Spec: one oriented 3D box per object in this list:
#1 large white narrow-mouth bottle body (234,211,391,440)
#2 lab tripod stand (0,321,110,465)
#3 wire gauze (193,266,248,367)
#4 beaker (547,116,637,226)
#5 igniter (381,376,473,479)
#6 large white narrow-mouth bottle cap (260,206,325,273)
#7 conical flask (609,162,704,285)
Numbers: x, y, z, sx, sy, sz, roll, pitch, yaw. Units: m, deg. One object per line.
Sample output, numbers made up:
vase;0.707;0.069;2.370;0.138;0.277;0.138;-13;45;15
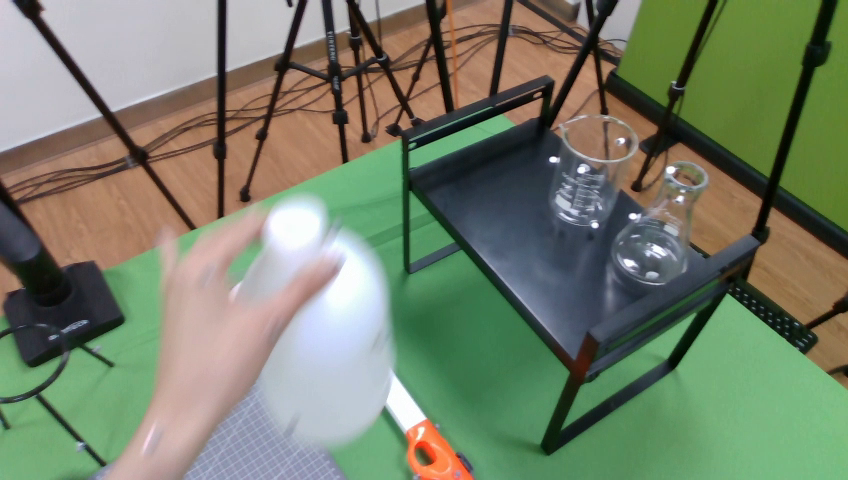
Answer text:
large white narrow-mouth bottle body;-0.079;0.058;0.428;0.102;0.196;0.101;-1;48;1
lab tripod stand;-0.396;0.160;0.637;0.148;0.132;0.147;3;49;-3
wire gauze;-0.203;0.078;0.732;0.121;0.011;0.123;-23;54;-20
beaker;0.171;-0.071;0.644;0.083;0.101;0.074;31;55;23
igniter;-0.007;0.218;0.675;0.057;0.025;0.273;-20;53;-31
large white narrow-mouth bottle cap;-0.080;-0.001;0.365;0.038;0.024;0.037;0;48;1
conical flask;0.231;-0.019;0.587;0.075;0.123;0.074;1;49;-1
